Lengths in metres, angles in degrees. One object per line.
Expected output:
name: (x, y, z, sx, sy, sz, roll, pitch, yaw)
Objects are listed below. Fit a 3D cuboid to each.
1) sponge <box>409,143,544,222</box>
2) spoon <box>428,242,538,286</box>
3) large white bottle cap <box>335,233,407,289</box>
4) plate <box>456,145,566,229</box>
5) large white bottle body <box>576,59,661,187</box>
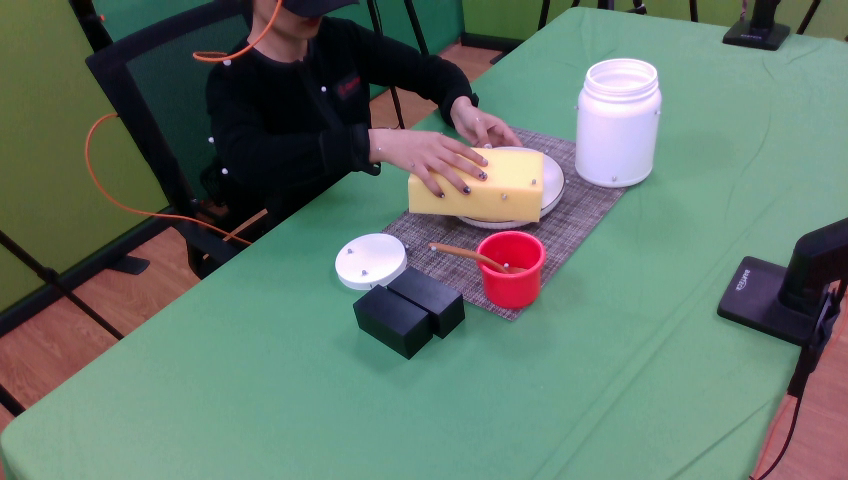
sponge: (0.086, -0.094, 0.969, 0.207, 0.061, 0.118, 5, 39, 4)
spoon: (0.085, 0.030, 0.831, 0.195, 0.021, 0.041, 22, 26, -34)
large white bottle cap: (-0.084, 0.031, 0.961, 0.115, 0.018, 0.114, -6, 42, 6)
plate: (0.136, -0.088, 1.035, 0.209, 0.038, 0.208, -6, 43, 7)
large white bottle body: (0.326, -0.197, 1.021, 0.130, 0.185, 0.130, -5, 40, 5)
